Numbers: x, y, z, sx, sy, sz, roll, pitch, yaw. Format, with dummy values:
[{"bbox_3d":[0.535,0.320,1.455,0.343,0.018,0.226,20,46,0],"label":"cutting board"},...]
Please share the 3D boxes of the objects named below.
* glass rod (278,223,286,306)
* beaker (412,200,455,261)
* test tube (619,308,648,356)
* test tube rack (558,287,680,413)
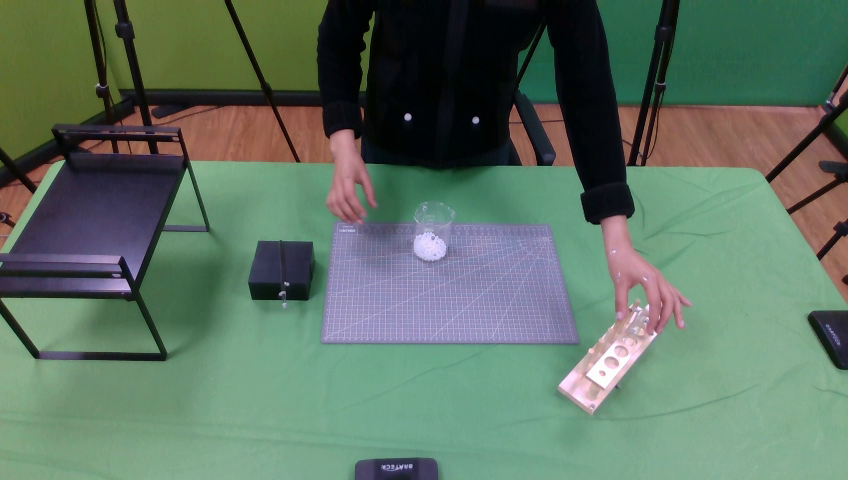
[{"bbox_3d":[-0.254,0.040,1.081,0.008,0.008,0.198,-6,47,-10],"label":"glass rod"},{"bbox_3d":[0.017,-0.015,1.152,0.084,0.101,0.073,-12,49,-15],"label":"beaker"},{"bbox_3d":[0.327,0.155,0.955,0.017,0.151,0.017,-1,50,1],"label":"test tube"},{"bbox_3d":[0.327,0.170,1.009,0.066,0.085,0.242,36,54,26],"label":"test tube rack"}]
